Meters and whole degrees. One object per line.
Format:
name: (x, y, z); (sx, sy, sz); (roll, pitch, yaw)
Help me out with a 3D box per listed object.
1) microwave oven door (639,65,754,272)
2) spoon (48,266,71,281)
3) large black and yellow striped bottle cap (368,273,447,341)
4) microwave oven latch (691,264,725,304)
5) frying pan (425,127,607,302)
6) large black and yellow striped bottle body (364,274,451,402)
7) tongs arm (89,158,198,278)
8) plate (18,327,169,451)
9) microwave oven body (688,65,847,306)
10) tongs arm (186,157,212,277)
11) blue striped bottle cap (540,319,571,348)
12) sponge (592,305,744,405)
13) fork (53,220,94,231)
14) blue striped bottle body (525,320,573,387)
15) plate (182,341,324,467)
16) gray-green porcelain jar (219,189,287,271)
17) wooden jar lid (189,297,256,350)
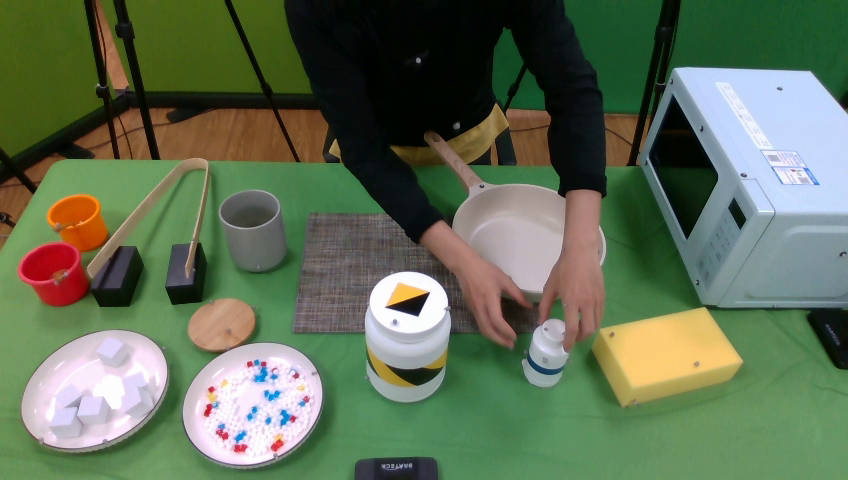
microwave oven door: (0.522, -0.147, 1.192); (0.039, 0.245, 0.353); (0, 47, -3)
spoon: (-0.609, 0.057, 1.010); (0.041, 0.022, 0.193); (-32, 14, -27)
large black and yellow striped bottle cap: (-0.023, 0.094, 0.875); (0.115, 0.019, 0.114); (2, 45, -2)
microwave oven latch: (0.521, 0.081, 1.116); (0.030, 0.029, 0.078); (0, 46, -3)
frying pan: (0.143, -0.070, 1.209); (0.307, 0.103, 0.485); (-22, 60, -24)
large black and yellow striped bottle body: (-0.026, 0.151, 0.937); (0.131, 0.185, 0.130); (2, 47, -2)
tongs arm: (-0.530, -0.058, 1.164); (0.028, 0.028, 0.385); (1, 36, 8)
plate: (-0.498, 0.229, 0.929); (0.208, 0.039, 0.206); (3, 46, -2)
microwave oven body: (0.669, -0.111, 1.176); (0.326, 0.261, 0.439); (0, 46, -3)
tongs arm: (-0.445, -0.058, 1.168); (0.051, 0.026, 0.382); (-5, 37, -6)
blue striped bottle cap: (0.202, 0.143, 0.933); (0.044, 0.021, 0.044); (5, 44, -5)
sponge: (0.405, 0.190, 1.015); (0.207, 0.061, 0.117); (-10, 48, -13)
fork: (-0.627, -0.027, 1.086); (0.028, 0.018, 0.207); (-1, 2, -15)
blue striped bottle body: (0.201, 0.179, 0.970); (0.063, 0.121, 0.062); (2, 45, -1)
plate: (-0.257, 0.250, 0.927); (0.209, 0.038, 0.208); (3, 46, -2)
gray-green porcelain jar: (-0.310, -0.014, 1.113); (0.106, 0.127, 0.105); (2, 46, -2)
wooden jar lid: (-0.342, 0.145, 1.033); (0.108, 0.021, 0.107); (3, 45, -2)
